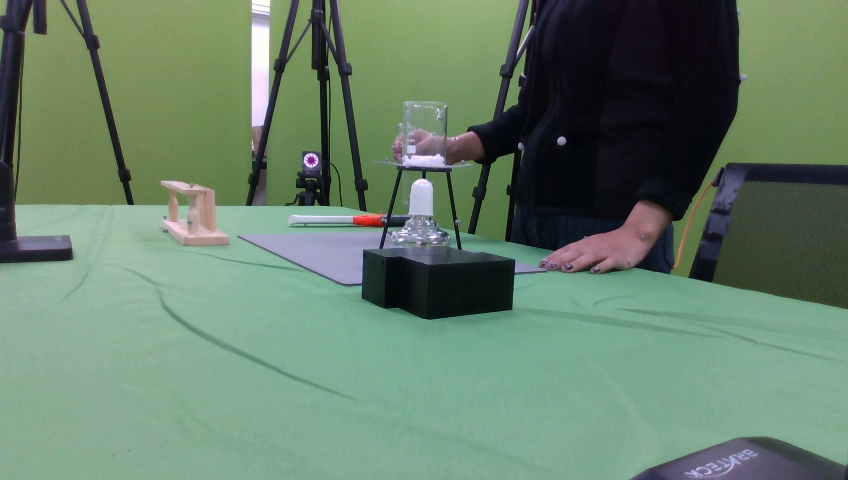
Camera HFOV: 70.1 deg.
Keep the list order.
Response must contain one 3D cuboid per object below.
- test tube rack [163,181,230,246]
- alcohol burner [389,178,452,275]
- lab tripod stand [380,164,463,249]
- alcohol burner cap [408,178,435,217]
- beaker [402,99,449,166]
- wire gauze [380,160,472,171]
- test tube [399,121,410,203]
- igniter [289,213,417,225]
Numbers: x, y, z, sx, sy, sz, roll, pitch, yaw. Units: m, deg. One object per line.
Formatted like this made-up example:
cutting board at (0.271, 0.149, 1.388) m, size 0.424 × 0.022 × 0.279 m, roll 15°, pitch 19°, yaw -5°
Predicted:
test tube rack at (-0.387, -0.050, 1.015) m, size 0.067 × 0.085 × 0.241 m, roll -2°, pitch 9°, yaw -30°
alcohol burner at (-0.004, -0.017, 0.749) m, size 0.078 × 0.119 × 0.078 m, roll 1°, pitch 9°, yaw 0°
lab tripod stand at (-0.003, -0.055, 0.967) m, size 0.148 × 0.131 × 0.148 m, roll 2°, pitch 9°, yaw 0°
alcohol burner cap at (-0.002, -0.053, 0.746) m, size 0.034 × 0.048 × 0.034 m, roll 3°, pitch 3°, yaw 0°
beaker at (0.003, -0.168, 0.957) m, size 0.073 × 0.100 × 0.084 m, roll 8°, pitch 11°, yaw 35°
wire gauze at (-0.004, -0.120, 0.959) m, size 0.122 × 0.011 × 0.124 m, roll -5°, pitch 13°, yaw -32°
test tube at (-0.036, -0.143, 1.116) m, size 0.017 × 0.150 × 0.017 m, roll -2°, pitch 5°, yaw 0°
igniter at (-0.144, -0.044, 1.275) m, size 0.278 × 0.025 × 0.057 m, roll -1°, pitch -2°, yaw -27°
